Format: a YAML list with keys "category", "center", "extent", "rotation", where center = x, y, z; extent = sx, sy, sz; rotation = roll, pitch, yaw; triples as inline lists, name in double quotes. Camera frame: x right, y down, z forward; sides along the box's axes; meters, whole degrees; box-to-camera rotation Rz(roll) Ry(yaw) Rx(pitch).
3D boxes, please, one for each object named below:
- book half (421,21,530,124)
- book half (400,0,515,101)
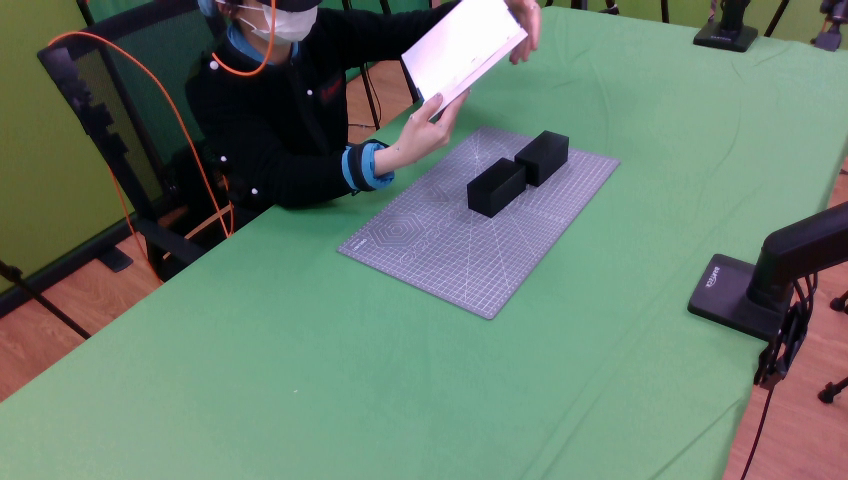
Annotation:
- category: "book half"
  center: [0.082, -0.273, 0.982]
  extent: [0.209, 0.016, 0.148]
  rotation: [-35, 16, 22]
- category: "book half"
  center: [0.054, -0.360, 1.089]
  extent: [0.209, 0.007, 0.142]
  rotation: [-37, 51, 19]
